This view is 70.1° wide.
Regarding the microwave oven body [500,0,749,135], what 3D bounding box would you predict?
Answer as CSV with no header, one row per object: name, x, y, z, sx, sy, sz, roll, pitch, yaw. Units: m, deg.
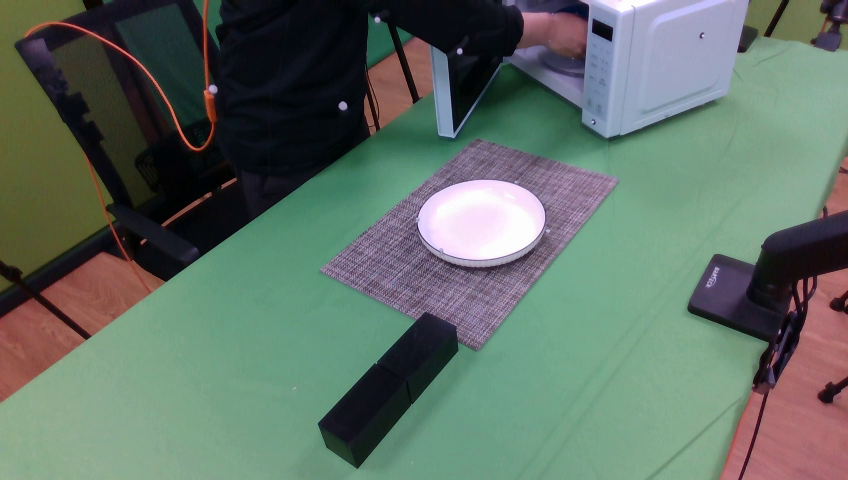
microwave oven body,0.382,-0.445,1.246,0.327,0.261,0.437,-22,42,-16

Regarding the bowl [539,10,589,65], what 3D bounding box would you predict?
bowl,0.318,-0.427,1.294,0.151,0.077,0.150,-1,41,2

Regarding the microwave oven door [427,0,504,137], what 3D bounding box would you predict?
microwave oven door,0.095,-0.407,1.235,0.039,0.245,0.356,10,44,20

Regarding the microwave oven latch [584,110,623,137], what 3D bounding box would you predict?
microwave oven latch,0.337,-0.222,1.142,0.030,0.029,0.078,-21,42,-14

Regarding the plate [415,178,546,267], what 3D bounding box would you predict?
plate,0.091,-0.026,0.970,0.207,0.039,0.206,-4,41,4
